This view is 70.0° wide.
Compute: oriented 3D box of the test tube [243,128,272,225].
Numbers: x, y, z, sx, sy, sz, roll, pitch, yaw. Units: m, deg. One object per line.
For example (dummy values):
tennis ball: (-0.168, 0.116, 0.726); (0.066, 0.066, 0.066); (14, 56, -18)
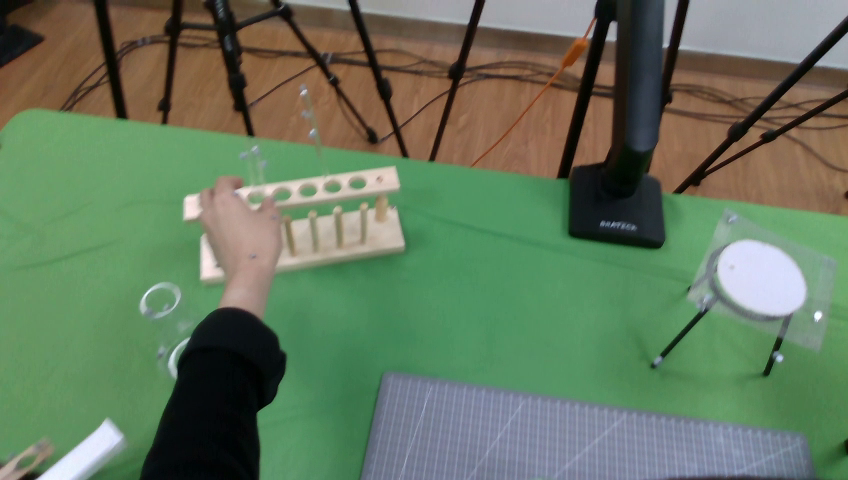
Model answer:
test tube: (-0.188, -0.067, 0.691); (0.017, 0.151, 0.017); (4, 52, -4)

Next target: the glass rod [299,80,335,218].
glass rod: (-0.119, -0.095, 0.692); (0.008, 0.201, 0.008); (-2, 48, 3)

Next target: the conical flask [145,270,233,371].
conical flask: (-0.248, 0.078, 0.624); (0.075, 0.123, 0.074); (1, 54, -1)

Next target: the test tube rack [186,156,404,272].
test tube rack: (-0.149, -0.031, 0.728); (0.243, 0.086, 0.066); (-10, 55, -9)

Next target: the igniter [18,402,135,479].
igniter: (-0.372, 0.244, 0.504); (0.057, 0.025, 0.276); (31, 58, 30)

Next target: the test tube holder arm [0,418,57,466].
test tube holder arm: (-0.401, 0.220, 0.519); (0.178, 0.015, 0.013); (-40, 96, -25)

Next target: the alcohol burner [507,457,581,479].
alcohol burner: (0.111, 0.227, 0.534); (0.078, 0.120, 0.077); (2, 54, -3)

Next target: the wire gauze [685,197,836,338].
wire gauze: (0.333, 0.024, 0.593); (0.121, 0.011, 0.124); (27, 59, 14)

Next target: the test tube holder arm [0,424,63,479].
test tube holder arm: (-0.366, 0.199, 0.539); (0.088, 0.015, 0.010); (-39, 95, -25)

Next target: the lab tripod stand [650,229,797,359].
lab tripod stand: (0.324, 0.063, 0.648); (0.148, 0.132, 0.147); (2, 54, -2)
